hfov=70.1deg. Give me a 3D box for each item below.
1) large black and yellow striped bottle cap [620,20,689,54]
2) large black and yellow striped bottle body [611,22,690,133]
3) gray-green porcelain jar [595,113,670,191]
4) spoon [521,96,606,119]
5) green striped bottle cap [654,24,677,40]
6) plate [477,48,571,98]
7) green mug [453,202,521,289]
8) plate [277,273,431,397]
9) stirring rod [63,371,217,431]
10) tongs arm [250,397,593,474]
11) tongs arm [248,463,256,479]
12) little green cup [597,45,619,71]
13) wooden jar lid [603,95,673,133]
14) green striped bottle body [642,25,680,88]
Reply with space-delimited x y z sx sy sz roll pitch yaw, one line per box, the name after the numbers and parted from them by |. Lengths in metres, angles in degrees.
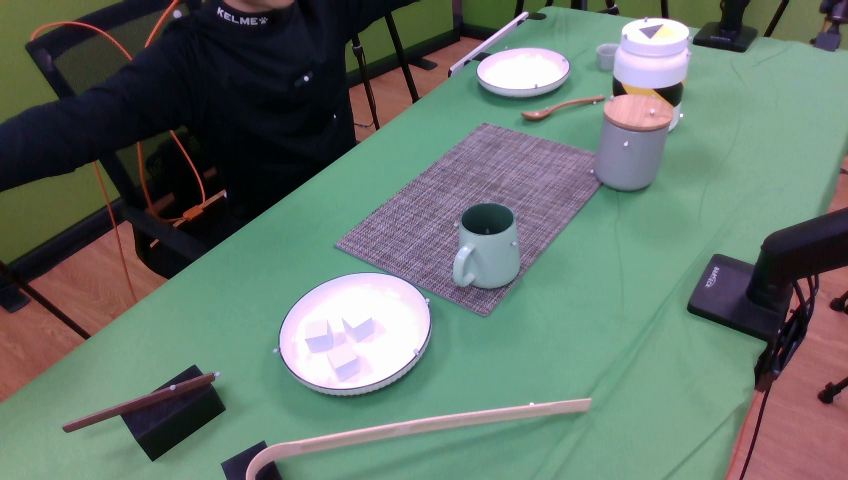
0.411 -0.363 1.080 0.115 0.019 0.114 -4 42 4 | large black and yellow striped bottle cap
0.420 -0.300 1.132 0.131 0.185 0.130 -4 41 4 | large black and yellow striped bottle body
0.346 -0.155 1.017 0.106 0.127 0.105 -2 43 2 | gray-green porcelain jar
0.291 -0.277 1.249 0.194 0.022 0.041 -17 23 -11 | spoon
0.495 -0.426 1.237 0.044 0.020 0.044 -5 42 5 | green striped bottle cap
0.223 -0.371 1.357 0.209 0.038 0.208 -4 41 4 | plate
0.083 0.019 0.867 0.092 0.105 0.125 23 49 30 | green mug
-0.092 0.129 0.821 0.207 0.039 0.206 -4 40 4 | plate
-0.337 0.192 0.723 0.177 0.014 0.005 -18 43 -12 | stirring rod
0.008 0.212 0.675 0.389 0.028 0.028 -5 46 -11 | tongs arm
0.012 0.262 0.615 0.385 0.026 0.050 2 42 -2 | tongs arm
0.423 -0.413 1.376 0.061 0.039 0.061 -4 41 4 | little green cup
0.343 -0.200 0.973 0.108 0.021 0.108 -2 39 2 | wooden jar lid
0.499 -0.387 1.271 0.063 0.120 0.063 -4 41 4 | green striped bottle body
